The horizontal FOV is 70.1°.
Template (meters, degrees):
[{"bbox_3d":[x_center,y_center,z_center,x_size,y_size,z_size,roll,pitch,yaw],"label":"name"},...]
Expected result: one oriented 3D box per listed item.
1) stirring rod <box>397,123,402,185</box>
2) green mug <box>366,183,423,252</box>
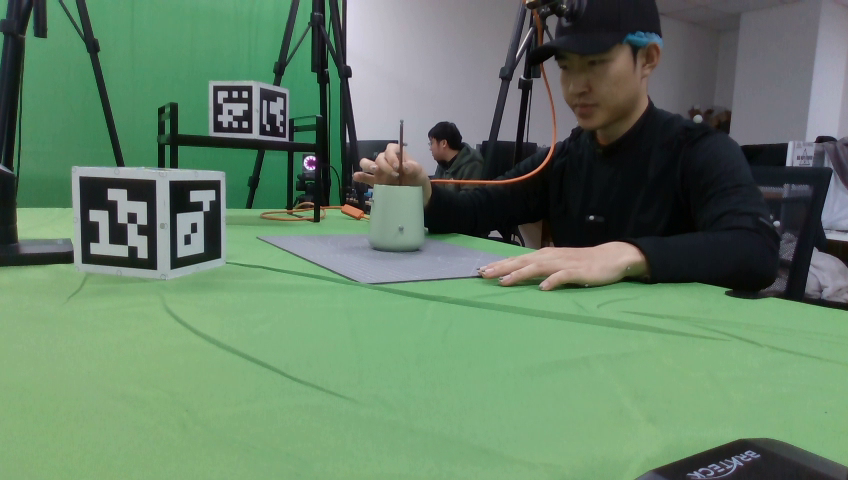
[{"bbox_3d":[-0.040,-0.101,0.979,0.006,0.176,0.014,0,12,-8],"label":"stirring rod"},{"bbox_3d":[-0.054,-0.039,0.989,0.093,0.105,0.124,-1,8,-30],"label":"green mug"}]
